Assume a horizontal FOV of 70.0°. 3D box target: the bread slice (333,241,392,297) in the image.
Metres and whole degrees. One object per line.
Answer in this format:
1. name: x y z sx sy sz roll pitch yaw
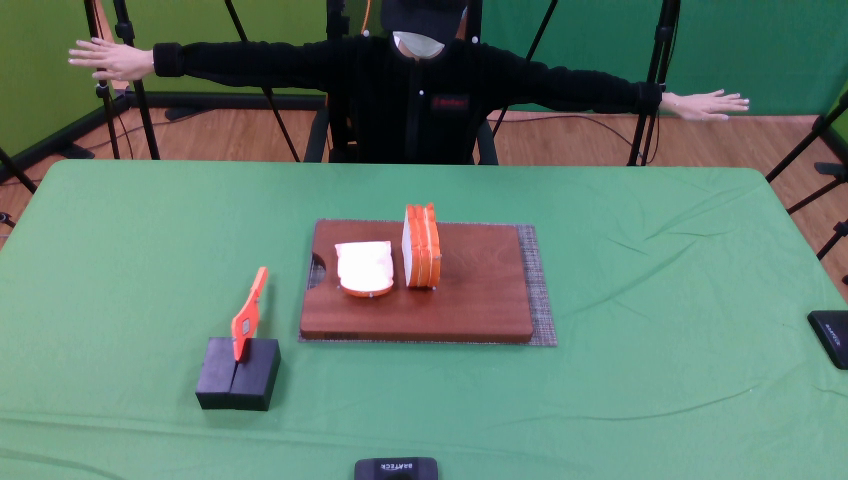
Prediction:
1. bread slice: -0.110 0.052 1.096 0.105 0.019 0.130 -2 43 -8

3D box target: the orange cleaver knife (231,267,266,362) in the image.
1. orange cleaver knife: -0.292 0.119 1.019 0.012 0.077 0.210 -1 27 0

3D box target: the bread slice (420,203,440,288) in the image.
1. bread slice: 0.010 0.018 1.089 0.018 0.107 0.133 -2 54 -7
